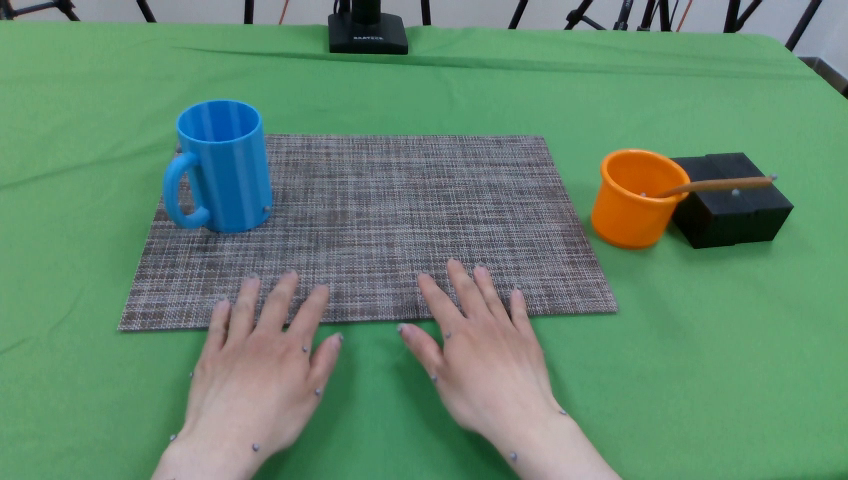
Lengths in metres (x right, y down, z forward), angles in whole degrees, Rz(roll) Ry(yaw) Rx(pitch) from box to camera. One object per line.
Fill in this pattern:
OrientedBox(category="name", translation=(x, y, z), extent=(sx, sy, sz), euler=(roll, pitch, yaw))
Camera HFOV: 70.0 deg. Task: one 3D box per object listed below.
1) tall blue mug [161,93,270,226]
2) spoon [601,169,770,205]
OrientedBox(category="tall blue mug", translation=(-0.197, -0.068, 0.588), extent=(0.078, 0.109, 0.106), euler=(5, 44, -2))
OrientedBox(category="spoon", translation=(0.250, -0.054, 0.604), extent=(0.042, 0.193, 0.021), euler=(-18, 93, -25))
